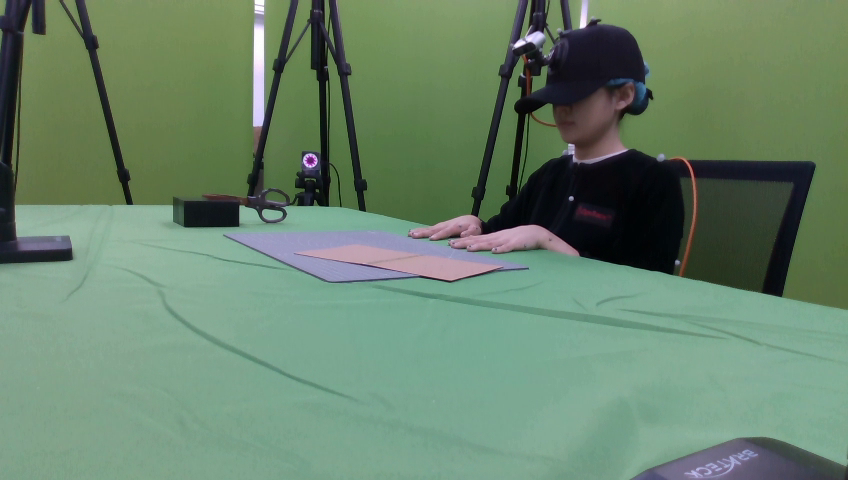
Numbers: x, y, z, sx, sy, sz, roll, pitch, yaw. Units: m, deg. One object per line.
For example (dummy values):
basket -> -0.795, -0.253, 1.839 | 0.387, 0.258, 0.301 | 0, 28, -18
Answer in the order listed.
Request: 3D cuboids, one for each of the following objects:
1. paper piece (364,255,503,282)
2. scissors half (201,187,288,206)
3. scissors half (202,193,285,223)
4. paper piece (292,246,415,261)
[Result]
paper piece -> 0.014, 0.035, 0.799 | 0.135, 0.004, 0.136 | 8, 9, 35
scissors half -> -0.360, -0.088, 1.224 | 0.176, 0.040, 0.012 | -3, 20, -32
scissors half -> -0.365, -0.069, 1.228 | 0.176, 0.040, 0.013 | 18, 3, -35
paper piece -> -0.095, 0.020, 0.873 | 0.137, 0.008, 0.137 | 7, 4, 35
